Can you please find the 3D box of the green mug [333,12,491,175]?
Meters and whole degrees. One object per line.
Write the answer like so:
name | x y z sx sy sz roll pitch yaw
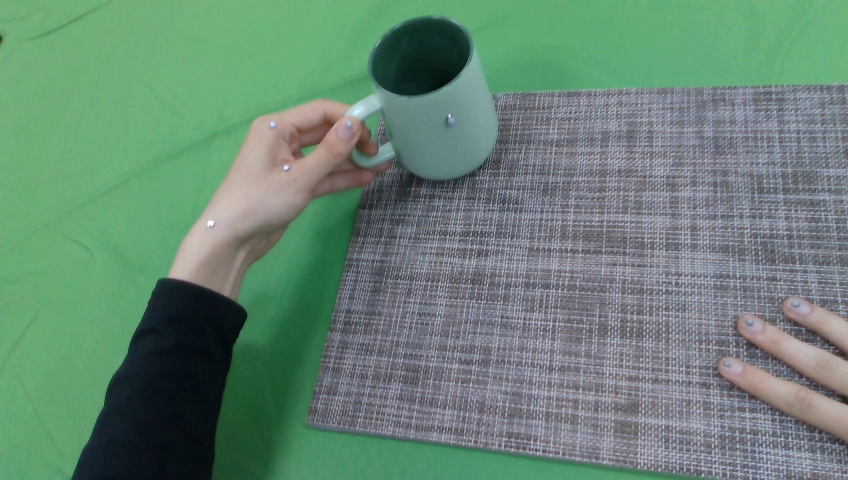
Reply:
green mug | -0.012 -0.104 0.479 0.125 0.106 0.091 -30 60 -2
